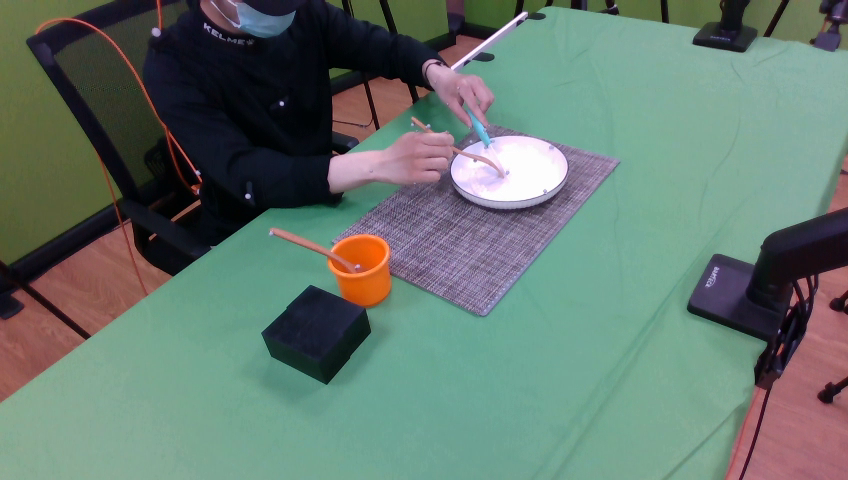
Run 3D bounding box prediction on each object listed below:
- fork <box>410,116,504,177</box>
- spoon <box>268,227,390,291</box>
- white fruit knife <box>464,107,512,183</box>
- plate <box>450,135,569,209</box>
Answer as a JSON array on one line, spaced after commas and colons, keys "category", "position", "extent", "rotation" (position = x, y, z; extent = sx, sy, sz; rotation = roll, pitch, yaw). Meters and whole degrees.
[{"category": "fork", "position": [0.060, -0.157, 1.028], "extent": [0.209, 0.018, 0.028], "rotation": [24, 22, -28]}, {"category": "spoon", "position": [-0.132, 0.025, 0.862], "extent": [0.021, 0.195, 0.041], "rotation": [-40, 31, 32]}, {"category": "white fruit knife", "position": [0.117, -0.178, 1.111], "extent": [0.016, 0.027, 0.206], "rotation": [-16, 55, -13]}, {"category": "plate", "position": [0.149, -0.117, 1.065], "extent": [0.209, 0.038, 0.208], "rotation": [-3, 41, 3]}]
